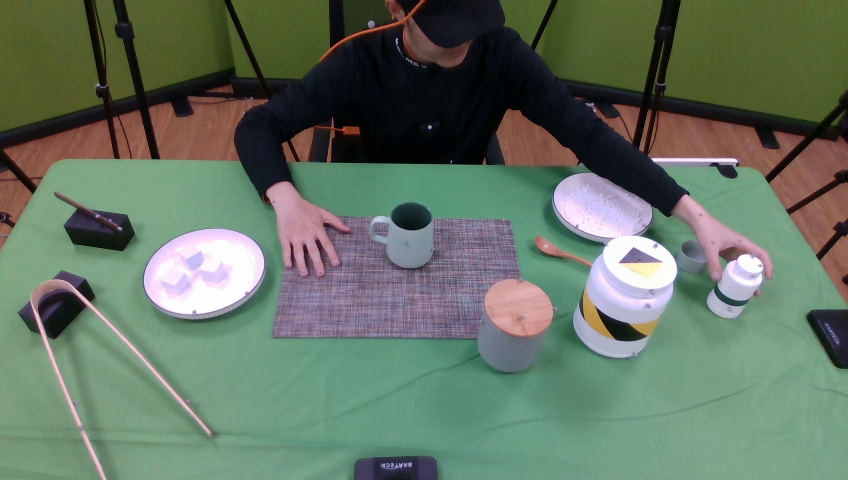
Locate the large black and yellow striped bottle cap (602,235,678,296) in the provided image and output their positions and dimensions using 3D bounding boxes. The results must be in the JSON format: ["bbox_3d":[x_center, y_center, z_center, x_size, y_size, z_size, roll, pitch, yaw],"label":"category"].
[{"bbox_3d":[0.340,0.037,0.955,0.115,0.019,0.114,2,47,-2],"label":"large black and yellow striped bottle cap"}]

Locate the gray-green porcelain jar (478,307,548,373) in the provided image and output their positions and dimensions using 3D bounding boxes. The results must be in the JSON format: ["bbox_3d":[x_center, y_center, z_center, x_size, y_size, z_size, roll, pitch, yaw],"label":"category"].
[{"bbox_3d":[0.144,0.148,0.989,0.106,0.127,0.105,2,50,-2],"label":"gray-green porcelain jar"}]

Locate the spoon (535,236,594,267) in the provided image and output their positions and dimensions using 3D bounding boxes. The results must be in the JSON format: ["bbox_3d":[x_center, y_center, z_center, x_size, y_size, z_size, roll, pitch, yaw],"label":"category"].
[{"bbox_3d":[0.303,0.040,1.178,0.193,0.022,0.041,25,30,19],"label":"spoon"}]

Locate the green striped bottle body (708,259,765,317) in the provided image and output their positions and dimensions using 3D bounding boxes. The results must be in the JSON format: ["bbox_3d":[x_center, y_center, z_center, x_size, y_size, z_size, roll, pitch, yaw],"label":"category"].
[{"bbox_3d":[0.564,0.080,1.089,0.063,0.120,0.063,2,47,-2],"label":"green striped bottle body"}]

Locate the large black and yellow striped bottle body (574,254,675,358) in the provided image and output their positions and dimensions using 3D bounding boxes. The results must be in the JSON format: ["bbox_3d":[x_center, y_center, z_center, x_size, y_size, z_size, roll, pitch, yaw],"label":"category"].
[{"bbox_3d":[0.335,0.096,1.014,0.131,0.185,0.130,2,46,-2],"label":"large black and yellow striped bottle body"}]

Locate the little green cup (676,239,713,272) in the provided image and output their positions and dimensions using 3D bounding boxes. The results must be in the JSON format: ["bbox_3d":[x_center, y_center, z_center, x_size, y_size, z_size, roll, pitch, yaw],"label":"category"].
[{"bbox_3d":[0.528,0.032,1.188,0.061,0.039,0.061,5,48,-5],"label":"little green cup"}]

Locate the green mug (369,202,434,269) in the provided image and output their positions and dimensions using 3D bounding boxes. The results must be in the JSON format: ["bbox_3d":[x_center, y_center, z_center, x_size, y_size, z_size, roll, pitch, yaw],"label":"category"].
[{"bbox_3d":[-0.042,-0.010,1.140,0.125,0.105,0.092,8,46,4],"label":"green mug"}]

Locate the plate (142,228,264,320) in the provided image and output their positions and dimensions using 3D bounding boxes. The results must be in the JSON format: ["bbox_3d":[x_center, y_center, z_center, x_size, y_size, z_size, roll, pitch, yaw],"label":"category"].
[{"bbox_3d":[-0.394,0.064,1.095,0.208,0.039,0.206,2,46,-2],"label":"plate"}]

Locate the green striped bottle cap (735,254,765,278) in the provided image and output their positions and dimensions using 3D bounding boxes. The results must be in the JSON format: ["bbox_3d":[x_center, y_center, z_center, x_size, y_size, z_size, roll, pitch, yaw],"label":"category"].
[{"bbox_3d":[0.565,0.046,1.051,0.044,0.020,0.044,0,45,0],"label":"green striped bottle cap"}]

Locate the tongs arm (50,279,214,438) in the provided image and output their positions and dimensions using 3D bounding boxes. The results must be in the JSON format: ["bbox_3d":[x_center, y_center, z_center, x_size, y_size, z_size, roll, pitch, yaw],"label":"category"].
[{"bbox_3d":[-0.459,0.178,0.949,0.386,0.028,0.028,37,60,17],"label":"tongs arm"}]

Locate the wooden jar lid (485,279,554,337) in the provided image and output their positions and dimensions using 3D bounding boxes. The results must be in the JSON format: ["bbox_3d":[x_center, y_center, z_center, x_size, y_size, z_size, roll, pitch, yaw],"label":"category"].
[{"bbox_3d":[0.147,0.108,0.940,0.108,0.021,0.107,4,47,-4],"label":"wooden jar lid"}]

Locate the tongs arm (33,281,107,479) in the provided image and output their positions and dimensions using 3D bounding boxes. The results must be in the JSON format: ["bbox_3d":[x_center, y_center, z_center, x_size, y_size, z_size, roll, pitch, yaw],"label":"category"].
[{"bbox_3d":[-0.517,0.214,0.909,0.051,0.026,0.383,-29,63,-27],"label":"tongs arm"}]

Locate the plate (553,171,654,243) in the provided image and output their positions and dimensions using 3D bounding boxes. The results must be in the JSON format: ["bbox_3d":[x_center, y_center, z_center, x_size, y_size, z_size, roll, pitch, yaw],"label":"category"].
[{"bbox_3d":[0.373,-0.066,1.275,0.209,0.038,0.208,2,46,-2],"label":"plate"}]

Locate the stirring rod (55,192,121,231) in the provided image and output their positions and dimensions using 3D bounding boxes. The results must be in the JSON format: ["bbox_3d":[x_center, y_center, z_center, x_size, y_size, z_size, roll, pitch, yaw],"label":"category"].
[{"bbox_3d":[-0.632,-0.055,1.138,0.175,0.014,0.006,24,50,19],"label":"stirring rod"}]
